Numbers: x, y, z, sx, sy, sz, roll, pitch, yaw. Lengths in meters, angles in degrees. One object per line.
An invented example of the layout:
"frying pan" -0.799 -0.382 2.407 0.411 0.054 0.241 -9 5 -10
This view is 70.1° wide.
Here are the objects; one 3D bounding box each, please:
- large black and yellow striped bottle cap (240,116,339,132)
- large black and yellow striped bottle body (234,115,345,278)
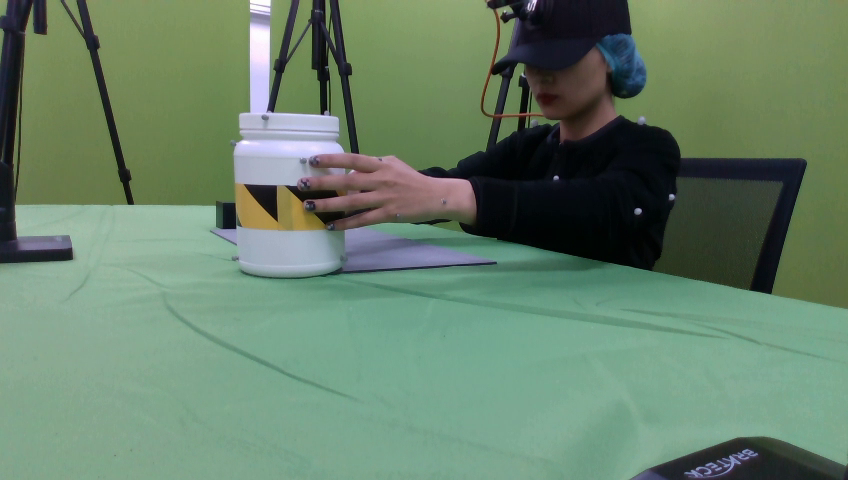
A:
"large black and yellow striped bottle cap" -0.158 -0.138 0.718 0.115 0.019 0.115 0 10 0
"large black and yellow striped bottle body" -0.161 -0.055 0.732 0.131 0.184 0.130 1 9 0
